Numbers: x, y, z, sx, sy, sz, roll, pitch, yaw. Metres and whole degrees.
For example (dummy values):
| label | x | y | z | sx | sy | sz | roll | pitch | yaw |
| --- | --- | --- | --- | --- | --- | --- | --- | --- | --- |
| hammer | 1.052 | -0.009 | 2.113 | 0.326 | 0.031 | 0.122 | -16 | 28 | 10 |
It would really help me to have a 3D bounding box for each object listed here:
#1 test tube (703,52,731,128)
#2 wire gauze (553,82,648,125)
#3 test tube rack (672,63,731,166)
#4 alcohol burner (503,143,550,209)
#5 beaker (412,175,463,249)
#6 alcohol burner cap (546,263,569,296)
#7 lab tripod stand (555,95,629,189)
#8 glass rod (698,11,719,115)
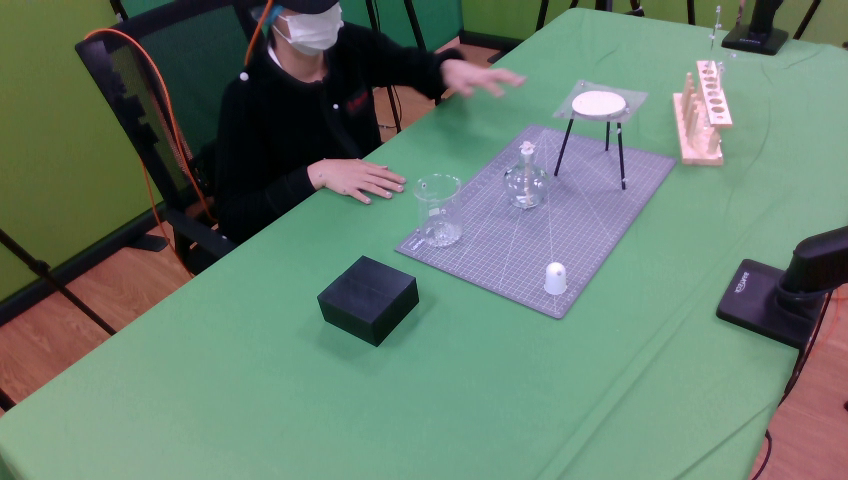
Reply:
| label | x | y | z | sx | sy | sz | roll | pitch | yaw |
| --- | --- | --- | --- | --- | --- | --- | --- | --- | --- |
| test tube | 0.523 | -0.266 | 1.082 | 0.017 | 0.151 | 0.017 | -3 | 44 | 4 |
| wire gauze | 0.293 | -0.225 | 1.002 | 0.120 | 0.011 | 0.125 | 17 | 45 | 27 |
| test tube rack | 0.513 | -0.241 | 1.132 | 0.066 | 0.085 | 0.242 | 4 | 41 | 14 |
| alcohol burner | 0.171 | -0.111 | 1.006 | 0.078 | 0.119 | 0.077 | -3 | 41 | 3 |
| beaker | 0.027 | -0.043 | 0.959 | 0.084 | 0.101 | 0.073 | -25 | 43 | -20 |
| alcohol burner cap | 0.191 | 0.053 | 0.862 | 0.034 | 0.048 | 0.033 | -5 | 40 | 4 |
| lab tripod stand | 0.300 | -0.174 | 1.045 | 0.148 | 0.132 | 0.147 | -5 | 38 | 5 |
| glass rod | 0.529 | -0.324 | 1.125 | 0.008 | 0.200 | 0.008 | -5 | 37 | 5 |
